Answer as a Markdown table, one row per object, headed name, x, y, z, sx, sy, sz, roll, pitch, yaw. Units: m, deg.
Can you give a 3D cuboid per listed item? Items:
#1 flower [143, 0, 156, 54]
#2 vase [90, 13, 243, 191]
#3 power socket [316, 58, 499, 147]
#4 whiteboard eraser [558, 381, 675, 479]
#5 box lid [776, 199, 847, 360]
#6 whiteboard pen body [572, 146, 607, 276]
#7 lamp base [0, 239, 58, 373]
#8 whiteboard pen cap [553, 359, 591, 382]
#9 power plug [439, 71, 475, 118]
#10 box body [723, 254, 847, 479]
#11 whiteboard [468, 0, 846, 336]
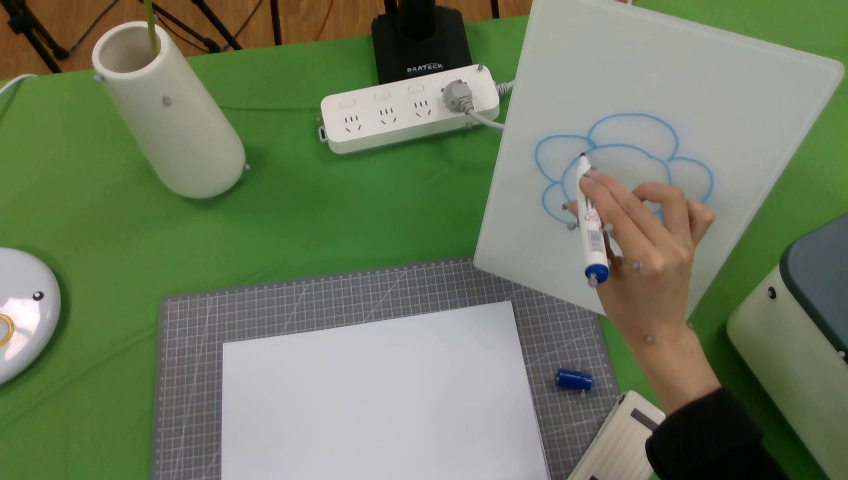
| name | x | y | z | sx | sy | sz | roll | pitch | yaw |
| --- | --- | --- | --- | --- | --- | --- | --- | --- | --- |
| flower | -0.242 | -0.165 | 0.548 | 0.038 | 0.362 | 0.044 | 40 | 62 | 0 |
| vase | -0.260 | -0.134 | 0.625 | 0.098 | 0.201 | 0.097 | -1 | 64 | 3 |
| power socket | -0.019 | -0.166 | 0.725 | 0.227 | 0.033 | 0.071 | -12 | 66 | -5 |
| whiteboard eraser | 0.173 | 0.187 | 0.546 | 0.055 | 0.042 | 0.112 | 35 | 70 | 17 |
| box lid | 0.465 | 0.097 | 0.433 | 0.263 | 0.015 | 0.368 | -25 | 67 | -9 |
| whiteboard pen body | 0.119 | -0.028 | 0.443 | 0.017 | 0.017 | 0.139 | 5 | 45 | 4 |
| lamp base | -0.476 | 0.033 | 0.562 | 0.178 | 0.182 | 0.160 | 22 | 67 | 15 |
| whiteboard pen cap | 0.143 | 0.128 | 0.588 | 0.033 | 0.018 | 0.018 | 10 | 65 | 3 |
| power plug | 0.037 | -0.160 | 0.696 | 0.035 | 0.053 | 0.072 | -3 | 71 | 0 |
| box body | 0.469 | 0.131 | 0.500 | 0.254 | 0.161 | 0.361 | -25 | 66 | -10 |
| whiteboard | 0.189 | -0.089 | 0.567 | 0.216 | 0.308 | 0.143 | 21 | 46 | 12 |
